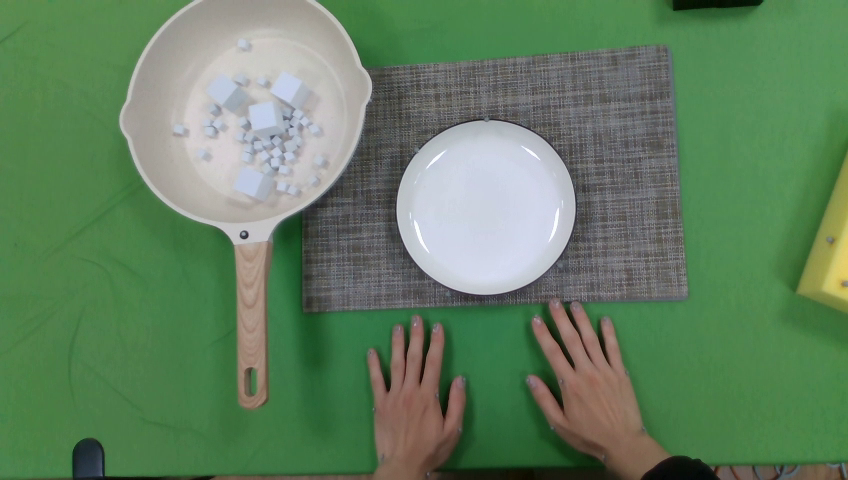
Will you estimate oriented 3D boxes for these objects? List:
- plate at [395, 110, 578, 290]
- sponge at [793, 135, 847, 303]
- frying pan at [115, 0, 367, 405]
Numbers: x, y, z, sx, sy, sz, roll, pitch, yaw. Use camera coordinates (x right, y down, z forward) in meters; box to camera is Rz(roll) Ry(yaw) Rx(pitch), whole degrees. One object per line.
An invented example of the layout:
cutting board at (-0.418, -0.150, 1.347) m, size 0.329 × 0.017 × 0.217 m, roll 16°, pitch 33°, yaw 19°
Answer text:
plate at (0.071, -0.045, 0.705) m, size 0.207 × 0.039 × 0.207 m, roll -1°, pitch 84°, yaw 6°
sponge at (0.502, -0.028, 0.649) m, size 0.118 × 0.061 × 0.206 m, roll 21°, pitch 87°, yaw 8°
frying pan at (-0.204, -0.059, 0.703) m, size 0.306 × 0.103 × 0.485 m, roll -6°, pitch 75°, yaw 8°
